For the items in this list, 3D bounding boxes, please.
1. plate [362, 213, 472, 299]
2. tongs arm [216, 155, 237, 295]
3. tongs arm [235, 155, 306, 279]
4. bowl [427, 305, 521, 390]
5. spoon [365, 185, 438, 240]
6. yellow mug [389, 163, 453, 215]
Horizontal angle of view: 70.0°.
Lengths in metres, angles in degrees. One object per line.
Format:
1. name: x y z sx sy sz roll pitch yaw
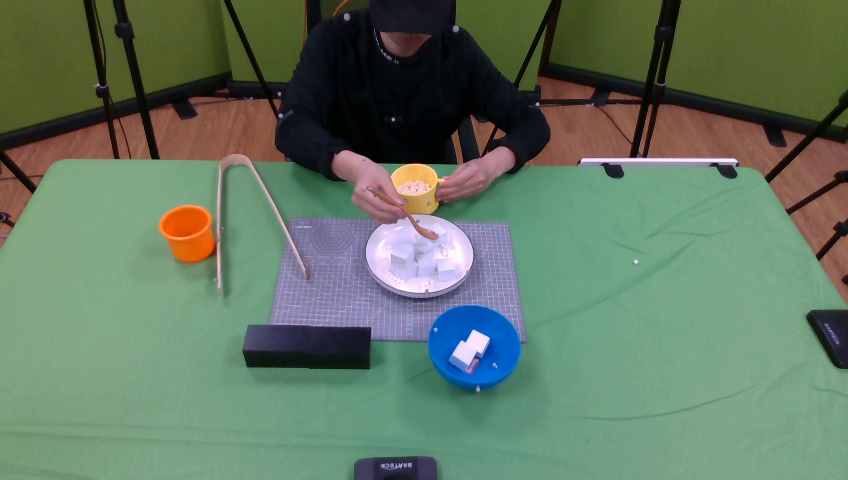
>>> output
1. plate: -0.013 0.034 1.150 0.208 0.039 0.206 3 46 -2
2. tongs arm: -0.388 -0.043 1.201 0.051 0.026 0.382 -9 46 -12
3. tongs arm: -0.312 -0.058 1.225 0.028 0.028 0.385 -22 50 -19
4. bowl: 0.076 0.188 0.985 0.151 0.077 0.150 3 46 -3
5. spoon: -0.038 -0.049 1.069 0.021 0.195 0.041 -45 42 5
6. yellow mug: -0.005 -0.105 1.258 0.131 0.064 0.099 -4 47 1
